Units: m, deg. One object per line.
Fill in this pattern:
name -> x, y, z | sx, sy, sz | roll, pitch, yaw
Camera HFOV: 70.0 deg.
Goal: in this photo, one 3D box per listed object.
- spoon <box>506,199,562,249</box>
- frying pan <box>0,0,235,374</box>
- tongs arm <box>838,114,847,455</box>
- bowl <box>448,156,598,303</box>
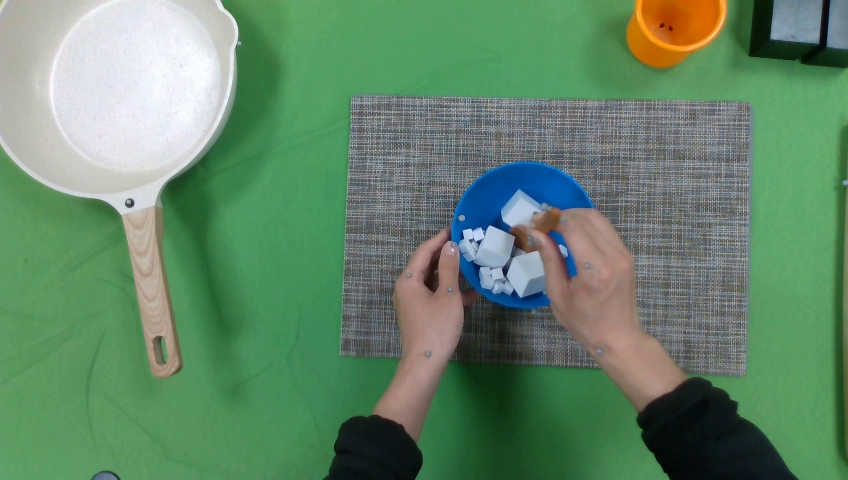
spoon -> 0.102, -0.012, 0.554 | 0.041, 0.194, 0.021 | 37, 88, 4
frying pan -> -0.326, -0.092, 0.670 | 0.307, 0.103, 0.485 | -14, 79, 4
tongs arm -> 0.465, 0.053, 0.650 | 0.028, 0.028, 0.387 | 1, 88, 3
bowl -> 0.102, -0.009, 0.647 | 0.151, 0.077, 0.151 | 0, 88, 4
